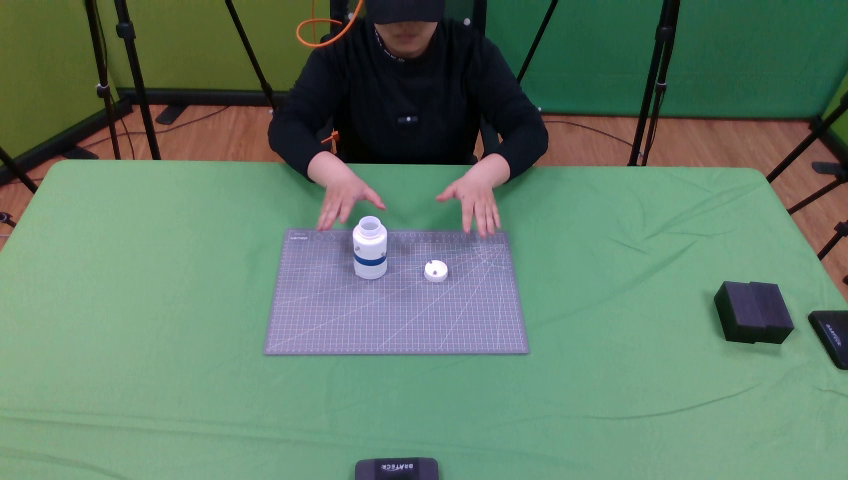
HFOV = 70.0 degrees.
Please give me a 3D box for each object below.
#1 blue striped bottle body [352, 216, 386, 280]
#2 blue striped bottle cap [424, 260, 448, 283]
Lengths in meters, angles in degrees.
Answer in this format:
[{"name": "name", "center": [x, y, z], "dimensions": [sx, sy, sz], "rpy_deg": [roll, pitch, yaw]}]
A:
[{"name": "blue striped bottle body", "center": [-0.100, 0.012, 1.107], "dimensions": [0.063, 0.121, 0.062], "rpy_deg": [2, 46, -2]}, {"name": "blue striped bottle cap", "center": [0.022, 0.059, 1.145], "dimensions": [0.044, 0.021, 0.044], "rpy_deg": [2, 47, -2]}]
